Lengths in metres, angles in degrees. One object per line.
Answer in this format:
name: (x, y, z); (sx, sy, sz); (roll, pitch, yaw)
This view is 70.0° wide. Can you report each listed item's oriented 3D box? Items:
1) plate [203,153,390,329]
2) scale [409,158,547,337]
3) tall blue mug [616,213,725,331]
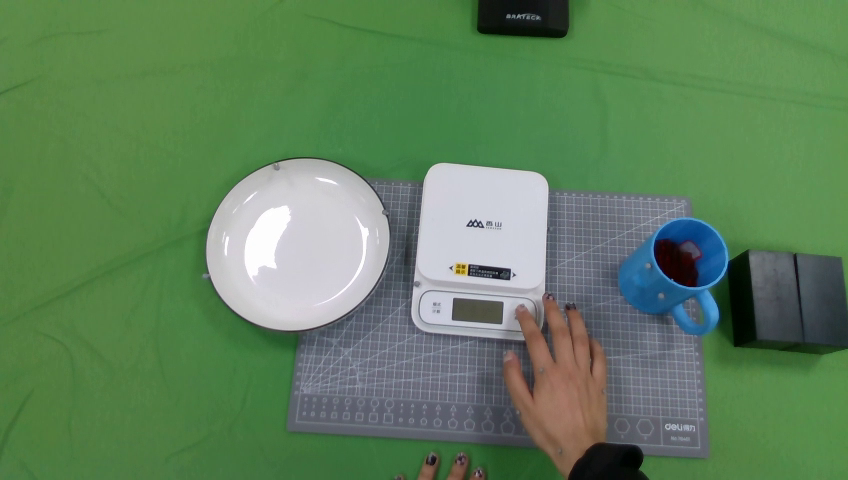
plate: (-0.142, 0.002, 0.691); (0.209, 0.038, 0.208); (0, 72, 1)
scale: (0.064, 0.005, 0.695); (0.148, 0.032, 0.200); (5, 73, 1)
tall blue mug: (0.271, 0.035, 0.647); (0.107, 0.108, 0.077); (39, 75, 11)
